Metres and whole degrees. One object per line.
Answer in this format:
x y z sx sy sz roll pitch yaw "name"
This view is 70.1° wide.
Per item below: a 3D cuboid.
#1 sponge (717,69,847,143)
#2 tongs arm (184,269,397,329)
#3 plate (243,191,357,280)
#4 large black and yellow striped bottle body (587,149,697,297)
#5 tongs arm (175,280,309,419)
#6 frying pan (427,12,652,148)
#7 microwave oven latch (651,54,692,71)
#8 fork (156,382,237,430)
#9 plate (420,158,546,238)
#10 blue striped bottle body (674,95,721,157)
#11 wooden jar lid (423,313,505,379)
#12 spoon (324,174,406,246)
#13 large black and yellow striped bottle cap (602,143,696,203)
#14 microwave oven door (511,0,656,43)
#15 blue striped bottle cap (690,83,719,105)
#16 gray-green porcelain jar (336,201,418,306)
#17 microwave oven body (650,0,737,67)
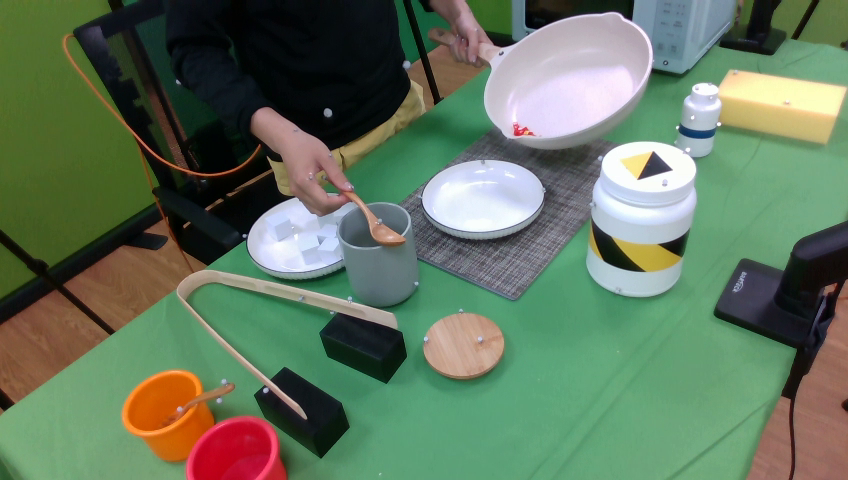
0.663 -0.256 1.141 0.205 0.061 0.118 19 47 28 "sponge"
-0.203 0.085 0.847 0.382 0.027 0.051 11 45 34 "tongs arm"
-0.188 -0.005 0.992 0.207 0.039 0.206 -4 41 4 "plate"
0.298 -0.026 0.835 0.131 0.185 0.130 -4 41 4 "large black and yellow striped bottle body"
-0.254 0.133 0.801 0.028 0.028 0.384 -41 41 -23 "tongs arm"
0.181 -0.324 1.120 0.484 0.103 0.307 36 78 33 "frying pan"
0.530 -0.386 1.301 0.078 0.029 0.030 24 50 32 "microwave oven latch"
-0.262 0.189 0.690 0.018 0.206 0.028 49 43 -7 "fork"
0.099 -0.067 1.017 0.209 0.038 0.208 -4 40 4 "plate"
0.486 -0.213 1.072 0.063 0.121 0.063 -4 41 4 "blue striped bottle body"
0.053 0.142 0.800 0.108 0.021 0.108 -5 39 4 "wooden jar lid"
-0.087 -0.045 0.831 0.042 0.021 0.192 -11 43 -36 "spoon"
0.289 -0.088 0.778 0.115 0.019 0.114 -5 39 4 "large black and yellow striped bottle cap"
0.351 -0.539 1.349 0.353 0.245 0.039 24 50 31 "microwave oven door"
0.481 -0.251 1.038 0.044 0.021 0.044 -5 40 5 "blue striped bottle cap"
-0.064 0.024 0.872 0.106 0.127 0.105 -4 41 4 "gray-green porcelain jar"
0.475 -0.602 1.411 0.438 0.261 0.327 23 50 32 "microwave oven body"
